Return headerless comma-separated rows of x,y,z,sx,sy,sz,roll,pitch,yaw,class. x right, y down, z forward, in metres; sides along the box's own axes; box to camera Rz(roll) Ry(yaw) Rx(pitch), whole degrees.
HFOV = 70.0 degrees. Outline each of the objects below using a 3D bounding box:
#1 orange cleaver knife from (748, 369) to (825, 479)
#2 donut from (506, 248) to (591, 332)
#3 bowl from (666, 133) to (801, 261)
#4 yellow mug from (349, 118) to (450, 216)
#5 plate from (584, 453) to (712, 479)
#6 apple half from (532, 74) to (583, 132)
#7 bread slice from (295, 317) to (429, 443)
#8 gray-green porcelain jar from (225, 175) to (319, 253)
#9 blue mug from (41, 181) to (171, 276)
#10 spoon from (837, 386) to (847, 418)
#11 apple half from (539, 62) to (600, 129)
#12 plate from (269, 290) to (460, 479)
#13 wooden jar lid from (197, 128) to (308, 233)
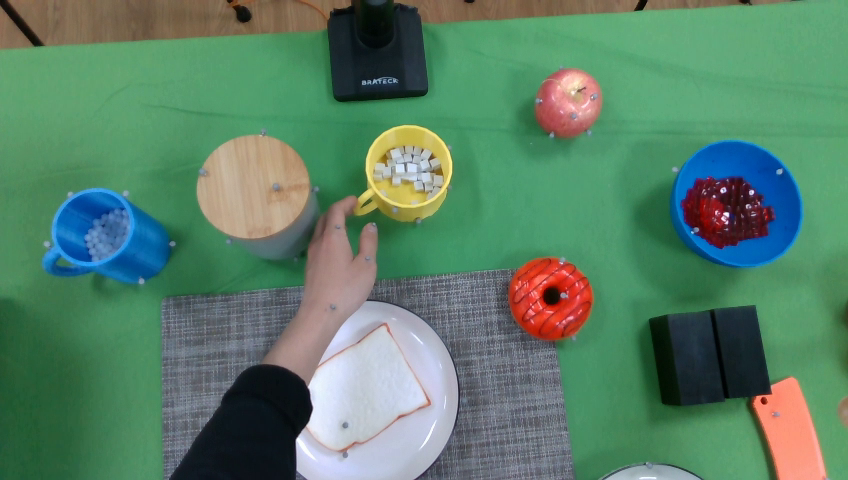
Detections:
0.425,0.257,0.698,0.077,0.012,0.210,-3,78,-10,orange cleaver knife
0.144,0.058,0.703,0.099,0.048,0.098,1,79,-3,donut
0.352,-0.043,0.723,0.151,0.077,0.150,1,79,-3,bowl
-0.034,-0.076,0.712,0.131,0.064,0.099,-36,83,-9,yellow mug
0.245,0.338,0.660,0.209,0.038,0.208,1,79,-3,plate
0.153,-0.157,0.734,0.033,0.081,0.081,-37,82,-15,apple half
-0.074,0.163,0.673,0.131,0.019,0.104,-31,81,-10,bread slice
-0.173,-0.044,0.666,0.106,0.127,0.105,1,78,-3,gray-green porcelain jar
-0.350,-0.001,0.657,0.116,0.106,0.082,-30,81,-8,blue mug
0.445,0.132,0.482,0.022,0.193,0.041,46,47,-36,spoon
0.183,-0.181,0.743,0.053,0.075,0.080,-37,79,-15,apple half
-0.064,0.161,0.673,0.208,0.039,0.206,1,79,-3,plate
-0.170,-0.058,0.605,0.108,0.021,0.108,1,77,-3,wooden jar lid
